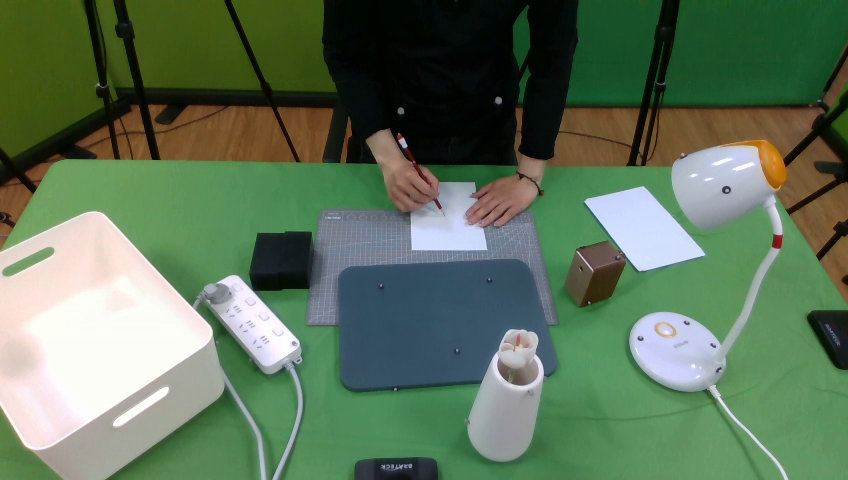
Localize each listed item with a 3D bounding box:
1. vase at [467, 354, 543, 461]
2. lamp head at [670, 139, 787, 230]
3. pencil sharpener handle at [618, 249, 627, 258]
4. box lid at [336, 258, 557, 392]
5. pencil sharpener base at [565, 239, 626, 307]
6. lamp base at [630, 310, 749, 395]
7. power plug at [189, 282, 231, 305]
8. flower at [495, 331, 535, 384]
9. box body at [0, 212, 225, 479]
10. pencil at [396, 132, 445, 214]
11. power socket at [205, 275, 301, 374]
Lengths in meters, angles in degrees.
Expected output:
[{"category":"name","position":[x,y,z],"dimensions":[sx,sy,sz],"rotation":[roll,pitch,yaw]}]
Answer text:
[{"category":"vase","position":[0.116,0.234,0.861],"dimensions":[0.098,0.201,0.097],"rotation":[1,47,-1]},{"category":"lamp head","position":[0.415,-0.079,0.812],"dimensions":[0.113,0.123,0.112],"rotation":[13,70,-37]},{"category":"pencil sharpener handle","position":[0.359,0.036,1.113],"dimensions":[0.031,0.068,0.036],"rotation":[-15,61,-18]},{"category":"box lid","position":[0.030,0.140,1.073],"dimensions":[0.372,0.015,0.261],"rotation":[-3,47,-7]},{"category":"pencil sharpener base","position":[0.313,0.060,1.104],"dimensions":[0.077,0.107,0.061],"rotation":[-15,49,-18]},{"category":"lamp base","position":[0.447,0.142,0.984],"dimensions":[0.161,0.181,0.178],"rotation":[-24,55,-24]},{"category":"power plug","position":[-0.368,0.097,1.039],"dimensions":[0.072,0.053,0.035],"rotation":[-26,55,-20]},{"category":"flower","position":[0.110,0.187,0.791],"dimensions":[0.044,0.363,0.038],"rotation":[-32,65,-10]},{"category":"box body","position":[-0.504,0.154,0.916],"dimensions":[0.362,0.161,0.254],"rotation":[36,54,27]},{"category":"pencil","position":[-0.004,-0.132,1.229],"dimensions":[0.012,0.195,0.012],"rotation":[-28,19,10]},{"category":"power socket","position":[-0.296,0.140,1.035],"dimensions":[0.072,0.033,0.225],"rotation":[-32,57,-29]}]
